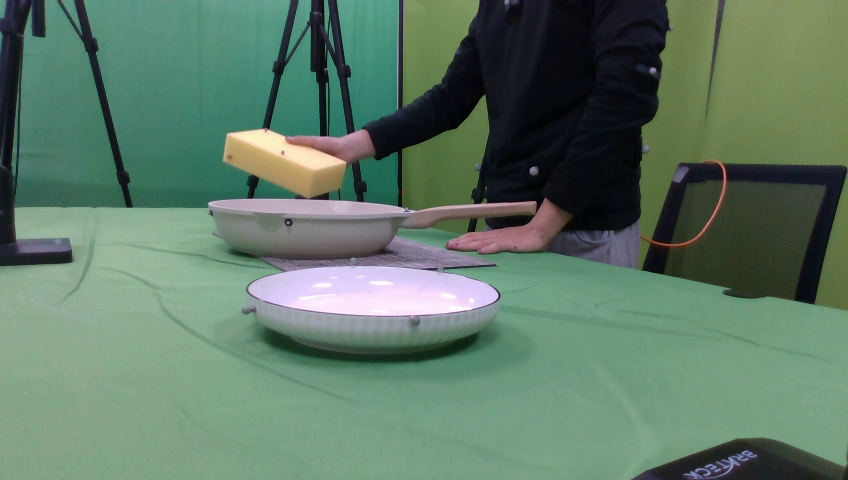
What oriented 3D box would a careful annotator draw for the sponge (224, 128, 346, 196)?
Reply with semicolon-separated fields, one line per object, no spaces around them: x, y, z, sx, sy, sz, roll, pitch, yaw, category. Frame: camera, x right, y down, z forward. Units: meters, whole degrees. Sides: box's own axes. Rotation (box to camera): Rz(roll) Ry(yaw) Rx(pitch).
-0.279;-0.161;1.219;0.206;0.061;0.118;23;23;16;sponge

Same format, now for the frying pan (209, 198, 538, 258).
-0.076;-0.034;0.912;0.487;0.102;0.307;-5;7;12;frying pan

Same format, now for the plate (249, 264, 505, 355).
-0.037;0.056;0.504;0.208;0.039;0.207;2;7;0;plate
